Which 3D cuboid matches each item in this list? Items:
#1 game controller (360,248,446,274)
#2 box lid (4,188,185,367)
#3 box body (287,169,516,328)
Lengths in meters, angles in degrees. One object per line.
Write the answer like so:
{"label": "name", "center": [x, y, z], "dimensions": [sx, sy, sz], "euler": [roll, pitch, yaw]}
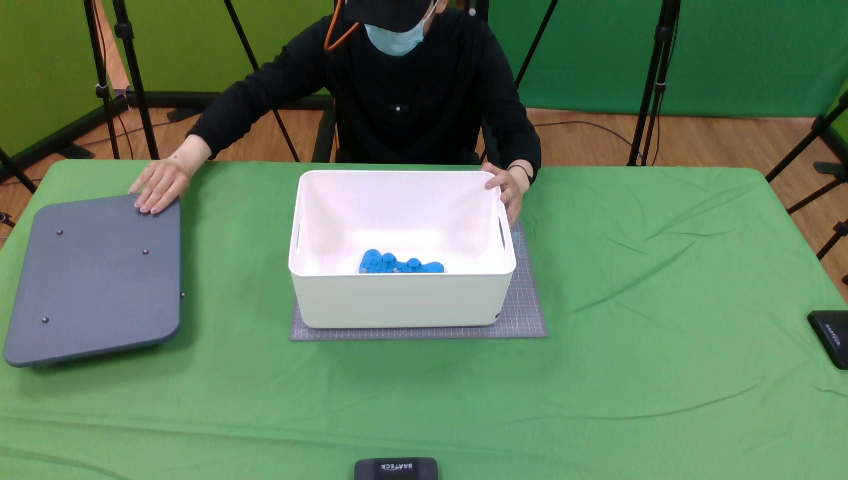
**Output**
{"label": "game controller", "center": [-0.043, 0.056, 1.107], "dimensions": [0.155, 0.052, 0.096], "euler": [11, 52, 8]}
{"label": "box lid", "center": [-0.558, 0.048, 1.060], "dimensions": [0.264, 0.015, 0.369], "euler": [-10, 48, -12]}
{"label": "box body", "center": [-0.040, 0.015, 1.075], "dimensions": [0.364, 0.161, 0.252], "euler": [-1, 47, -4]}
